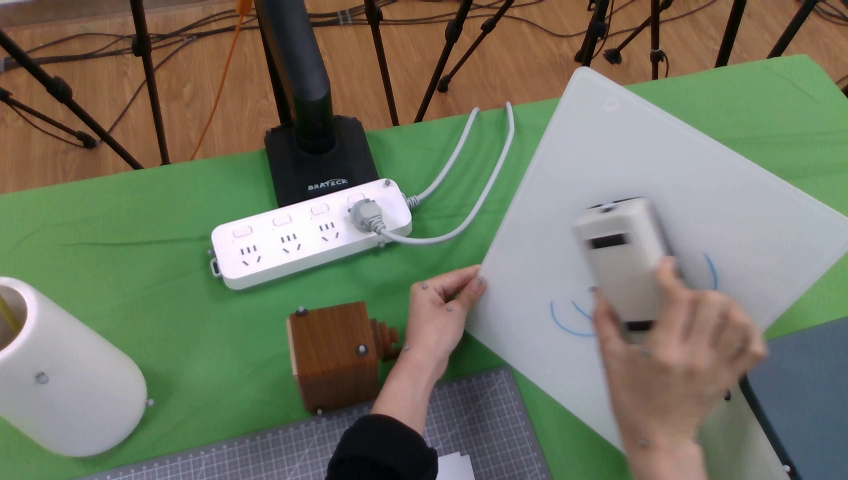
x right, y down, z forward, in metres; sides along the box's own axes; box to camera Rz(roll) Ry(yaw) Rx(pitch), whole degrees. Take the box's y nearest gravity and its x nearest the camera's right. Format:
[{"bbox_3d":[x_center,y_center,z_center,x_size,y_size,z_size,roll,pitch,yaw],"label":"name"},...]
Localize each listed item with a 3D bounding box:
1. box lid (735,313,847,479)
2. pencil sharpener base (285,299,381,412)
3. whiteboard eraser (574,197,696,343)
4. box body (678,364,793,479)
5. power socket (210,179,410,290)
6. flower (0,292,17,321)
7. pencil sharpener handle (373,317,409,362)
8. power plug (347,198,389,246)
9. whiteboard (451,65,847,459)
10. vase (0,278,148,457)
[{"bbox_3d":[0.408,0.206,0.411,0.264,0.015,0.367,-13,60,-12],"label":"box lid"},{"bbox_3d":[-0.079,0.107,0.552,0.077,0.108,0.061,-10,59,-11],"label":"pencil sharpener base"},{"bbox_3d":[0.161,0.023,0.459,0.042,0.055,0.113,-39,108,-46],"label":"whiteboard eraser"},{"bbox_3d":[0.404,0.247,0.473,0.255,0.161,0.360,-13,61,-12],"label":"box body"},{"bbox_3d":[-0.121,-0.008,0.663,0.227,0.033,0.071,-17,62,-15],"label":"power socket"},{"bbox_3d":[-0.292,0.046,0.422,0.038,0.365,0.043,-23,45,-25],"label":"flower"},{"bbox_3d":[-0.028,0.092,0.552,0.031,0.068,0.035,-10,59,-11],"label":"pencil sharpener handle"},{"bbox_3d":[-0.061,-0.012,0.643,0.035,0.053,0.072,-9,61,-9],"label":"power plug"},{"bbox_3d":[0.191,0.013,0.552,0.216,0.307,0.144,37,44,18],"label":"whiteboard"},{"bbox_3d":[-0.298,0.106,0.482,0.098,0.201,0.097,1,58,-2],"label":"vase"}]
